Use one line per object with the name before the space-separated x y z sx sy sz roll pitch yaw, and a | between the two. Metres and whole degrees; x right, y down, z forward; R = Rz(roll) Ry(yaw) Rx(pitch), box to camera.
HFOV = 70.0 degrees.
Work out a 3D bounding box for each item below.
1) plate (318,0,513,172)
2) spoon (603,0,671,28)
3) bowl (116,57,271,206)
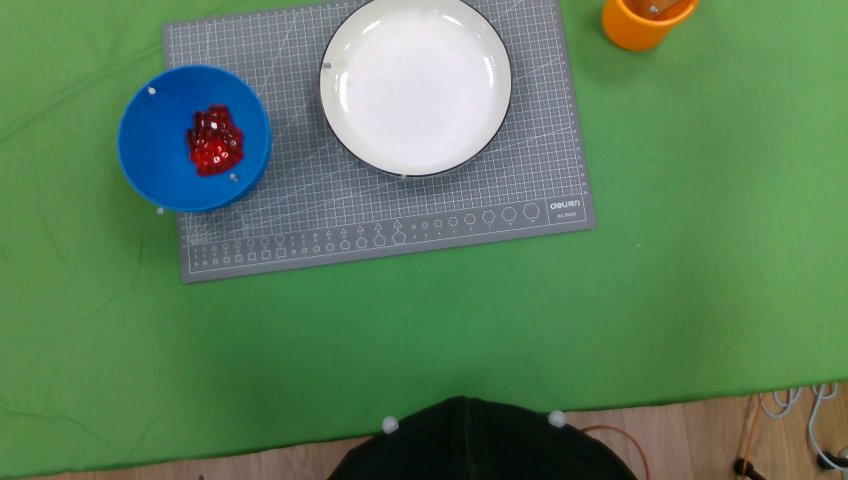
plate | -0.009 -0.174 0.658 0.209 0.038 0.208 0 83 1
spoon | 0.272 -0.254 0.612 0.022 0.192 0.041 10 83 -42
bowl | -0.226 -0.102 0.630 0.151 0.077 0.151 0 83 0
